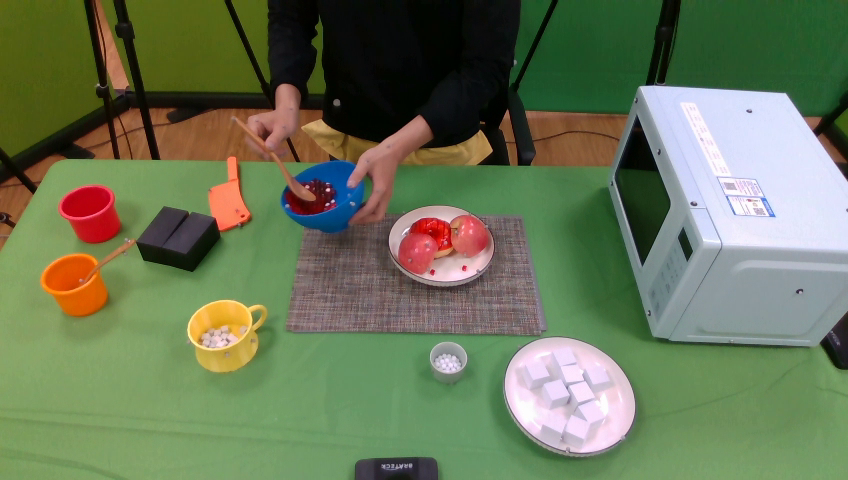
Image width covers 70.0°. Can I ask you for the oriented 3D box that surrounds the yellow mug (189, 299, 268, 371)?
[{"bbox_3d":[-0.316,0.148,1.002,0.131,0.064,0.099,-33,56,-31],"label":"yellow mug"}]

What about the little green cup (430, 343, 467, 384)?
[{"bbox_3d":[0.039,0.203,0.993,0.061,0.039,0.061,2,46,-2],"label":"little green cup"}]

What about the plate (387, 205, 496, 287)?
[{"bbox_3d":[0.033,0.014,1.171,0.209,0.038,0.208,2,46,-2],"label":"plate"}]

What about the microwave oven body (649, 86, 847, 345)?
[{"bbox_3d":[0.568,-0.053,1.118,0.326,0.261,0.439,2,45,-1],"label":"microwave oven body"}]

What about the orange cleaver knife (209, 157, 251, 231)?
[{"bbox_3d":[-0.409,-0.099,1.266,0.077,0.012,0.210,-14,50,-9],"label":"orange cleaver knife"}]

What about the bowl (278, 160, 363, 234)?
[{"bbox_3d":[-0.171,-0.065,1.074,0.151,0.077,0.150,-11,42,10],"label":"bowl"}]

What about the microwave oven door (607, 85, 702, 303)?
[{"bbox_3d":[0.423,-0.094,1.141,0.039,0.245,0.353,2,46,-1],"label":"microwave oven door"}]

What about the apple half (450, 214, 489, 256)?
[{"bbox_3d":[0.092,-0.013,1.158,0.075,0.053,0.080,34,39,-28],"label":"apple half"}]

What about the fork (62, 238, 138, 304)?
[{"bbox_3d":[-0.547,0.053,1.018,0.207,0.019,0.028,-36,41,23],"label":"fork"}]

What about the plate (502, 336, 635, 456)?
[{"bbox_3d":[0.225,0.248,0.964,0.208,0.039,0.206,2,46,-2],"label":"plate"}]

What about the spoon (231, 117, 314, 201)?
[{"bbox_3d":[-0.259,-0.138,1.046,0.021,0.194,0.041,-31,21,19],"label":"spoon"}]

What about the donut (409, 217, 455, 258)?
[{"bbox_3d":[0.019,-0.007,1.174,0.099,0.048,0.098,3,43,-3],"label":"donut"}]

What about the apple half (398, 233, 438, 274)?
[{"bbox_3d":[-0.016,0.022,1.123,0.081,0.033,0.081,-2,83,14],"label":"apple half"}]

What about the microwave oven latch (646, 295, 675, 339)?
[{"bbox_3d":[0.412,0.134,1.061,0.030,0.029,0.078,4,45,1],"label":"microwave oven latch"}]
